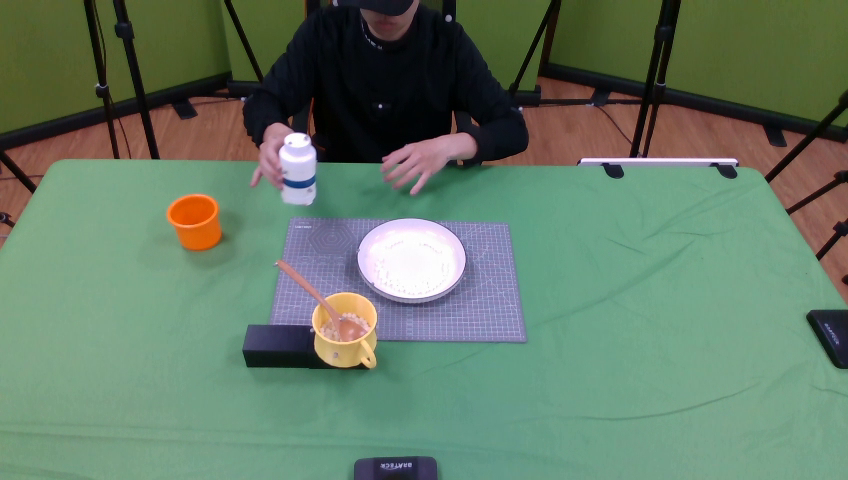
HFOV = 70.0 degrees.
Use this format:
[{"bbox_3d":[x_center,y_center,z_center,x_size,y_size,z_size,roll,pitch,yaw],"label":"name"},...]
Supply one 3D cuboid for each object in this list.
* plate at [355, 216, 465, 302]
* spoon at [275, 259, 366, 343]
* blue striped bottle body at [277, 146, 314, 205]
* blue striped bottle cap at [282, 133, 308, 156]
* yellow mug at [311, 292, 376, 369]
[{"bbox_3d":[-0.027,0.039,1.144,0.208,0.039,0.206,2,46,-2],"label":"plate"},{"bbox_3d":[-0.161,0.098,0.946,0.194,0.021,0.041,48,56,-5],"label":"spoon"},{"bbox_3d":[-0.227,-0.127,1.077,0.063,0.121,0.062,5,43,-5],"label":"blue striped bottle body"},{"bbox_3d":[-0.222,-0.164,1.042,0.044,0.021,0.044,7,44,-6],"label":"blue striped bottle cap"},{"bbox_3d":[-0.115,0.149,0.945,0.100,0.064,0.130,-29,57,-28],"label":"yellow mug"}]
